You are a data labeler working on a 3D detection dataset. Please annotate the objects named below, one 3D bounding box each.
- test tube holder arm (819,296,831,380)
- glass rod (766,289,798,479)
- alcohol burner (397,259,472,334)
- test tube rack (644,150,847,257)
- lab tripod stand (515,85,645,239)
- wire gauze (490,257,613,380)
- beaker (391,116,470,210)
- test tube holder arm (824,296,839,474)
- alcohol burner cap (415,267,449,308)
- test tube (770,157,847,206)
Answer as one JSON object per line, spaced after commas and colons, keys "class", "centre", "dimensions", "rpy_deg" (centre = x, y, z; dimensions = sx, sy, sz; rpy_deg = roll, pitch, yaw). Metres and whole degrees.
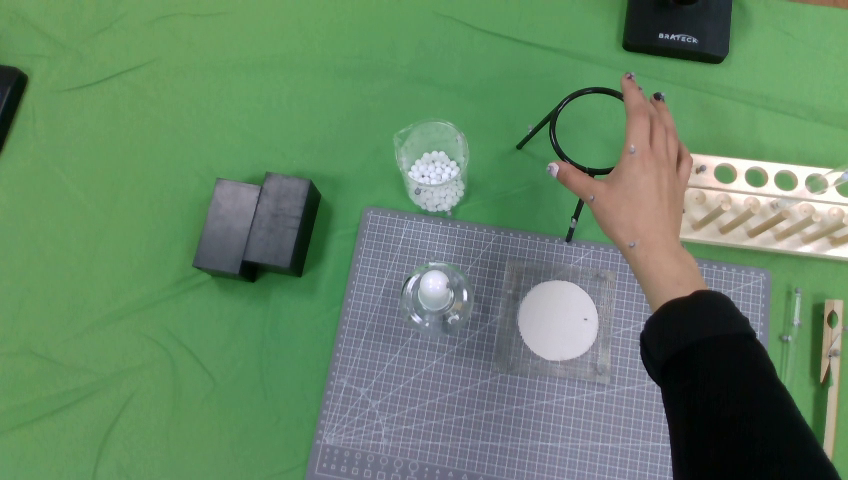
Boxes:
{"class": "test tube holder arm", "centre": [0.417, 0.102, 0.629], "dimensions": [0.010, 0.015, 0.087], "rpy_deg": [-1, 73, 39]}
{"class": "glass rod", "centre": [0.370, 0.147, 0.625], "dimensions": [0.008, 0.008, 0.199], "rpy_deg": [13, 80, 5]}
{"class": "alcohol burner", "centre": [0.009, 0.053, 0.605], "dimensions": [0.078, 0.120, 0.077], "rpy_deg": [-1, 74, 3]}
{"class": "test tube rack", "centre": [0.365, -0.035, 0.629], "dimensions": [0.242, 0.085, 0.066], "rpy_deg": [7, 76, 4]}
{"class": "lab tripod stand", "centre": [0.160, -0.089, 0.625], "dimensions": [0.148, 0.132, 0.147], "rpy_deg": [-1, 75, 4]}
{"class": "wire gauze", "centre": [0.138, 0.083, 0.647], "dimensions": [0.121, 0.011, 0.124], "rpy_deg": [7, 80, 3]}
{"class": "beaker", "centre": [0.007, -0.079, 0.648], "dimensions": [0.084, 0.101, 0.074], "rpy_deg": [27, 78, 10]}
{"class": "test tube holder arm", "centre": [0.414, 0.145, 0.615], "dimensions": [0.013, 0.015, 0.177], "rpy_deg": [-2, 72, 39]}
{"class": "alcohol burner cap", "centre": [0.008, 0.042, 0.571], "dimensions": [0.034, 0.048, 0.033], "rpy_deg": [1, 67, -2]}
{"class": "test tube", "centre": [0.384, -0.059, 0.583], "dimensions": [0.017, 0.151, 0.017], "rpy_deg": [1, 76, -3]}
